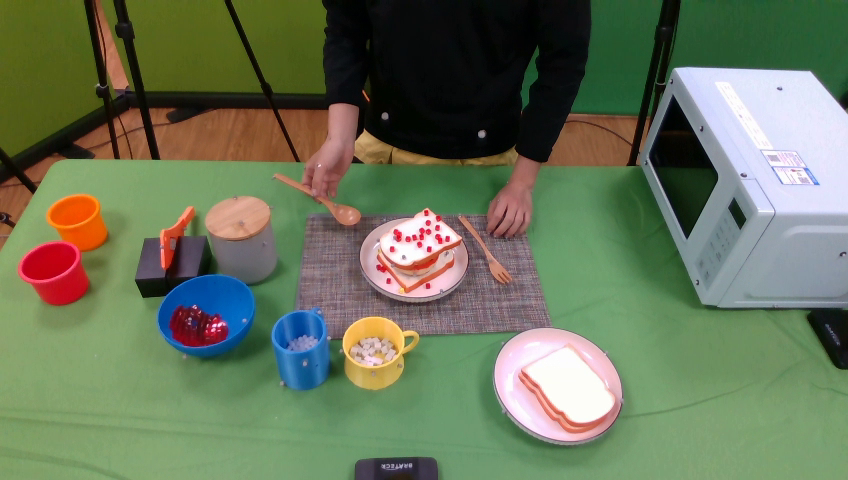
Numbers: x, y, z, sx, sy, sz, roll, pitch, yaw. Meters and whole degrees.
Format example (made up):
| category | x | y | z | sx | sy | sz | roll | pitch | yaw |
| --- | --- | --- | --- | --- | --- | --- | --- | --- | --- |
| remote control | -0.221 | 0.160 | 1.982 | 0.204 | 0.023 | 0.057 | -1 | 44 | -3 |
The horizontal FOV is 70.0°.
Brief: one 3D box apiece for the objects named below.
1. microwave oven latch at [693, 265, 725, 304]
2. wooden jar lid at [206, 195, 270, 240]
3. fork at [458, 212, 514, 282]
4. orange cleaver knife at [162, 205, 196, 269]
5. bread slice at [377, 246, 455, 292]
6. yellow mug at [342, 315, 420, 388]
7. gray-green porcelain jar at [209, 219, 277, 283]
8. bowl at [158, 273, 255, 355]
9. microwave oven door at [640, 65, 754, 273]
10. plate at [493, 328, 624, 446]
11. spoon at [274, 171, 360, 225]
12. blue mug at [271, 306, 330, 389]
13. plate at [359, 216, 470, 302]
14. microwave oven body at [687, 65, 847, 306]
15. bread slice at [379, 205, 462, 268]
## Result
| category | x | y | z | sx | sy | sz | roll | pitch | yaw |
| --- | --- | --- | --- | --- | --- | --- | --- | --- | --- |
| microwave oven latch | 0.523 | 0.081 | 1.116 | 0.030 | 0.029 | 0.078 | 2 | 46 | -1 |
| wooden jar lid | -0.319 | -0.036 | 1.046 | 0.108 | 0.021 | 0.107 | 1 | 44 | 0 |
| fork | 0.116 | 0.011 | 1.188 | 0.028 | 0.019 | 0.206 | -21 | 53 | -13 |
| orange cleaver knife | -0.454 | -0.010 | 1.129 | 0.012 | 0.077 | 0.210 | -1 | 20 | -5 |
| bread slice | -0.010 | 0.033 | 1.150 | 0.131 | 0.019 | 0.104 | -27 | 56 | -24 |
| yellow mug | -0.068 | 0.177 | 0.990 | 0.131 | 0.064 | 0.099 | -15 | 50 | -19 |
| gray-green porcelain jar | -0.323 | 0.007 | 1.092 | 0.106 | 0.127 | 0.105 | 2 | 46 | -2 |
| bowl | -0.351 | 0.136 | 1.001 | 0.151 | 0.077 | 0.150 | 2 | 46 | -2 |
| microwave oven door | 0.523 | -0.147 | 1.193 | 0.039 | 0.245 | 0.353 | 0 | 47 | -3 |
| plate | 0.213 | 0.236 | 0.974 | 0.208 | 0.039 | 0.206 | 2 | 46 | -2 |
| spoon | -0.210 | -0.086 | 1.184 | 0.194 | 0.022 | 0.041 | 32 | 69 | 2 |
| blue mug | -0.188 | 0.163 | 0.969 | 0.082 | 0.106 | 0.116 | 15 | 47 | 10 |
| plate | -0.019 | 0.038 | 1.140 | 0.209 | 0.038 | 0.208 | 2 | 46 | -2 |
| microwave oven body | 0.669 | -0.111 | 1.176 | 0.326 | 0.261 | 0.439 | 0 | 46 | -3 |
| bread slice | -0.012 | -0.001 | 1.097 | 0.134 | 0.018 | 0.106 | -33 | 51 | -23 |
